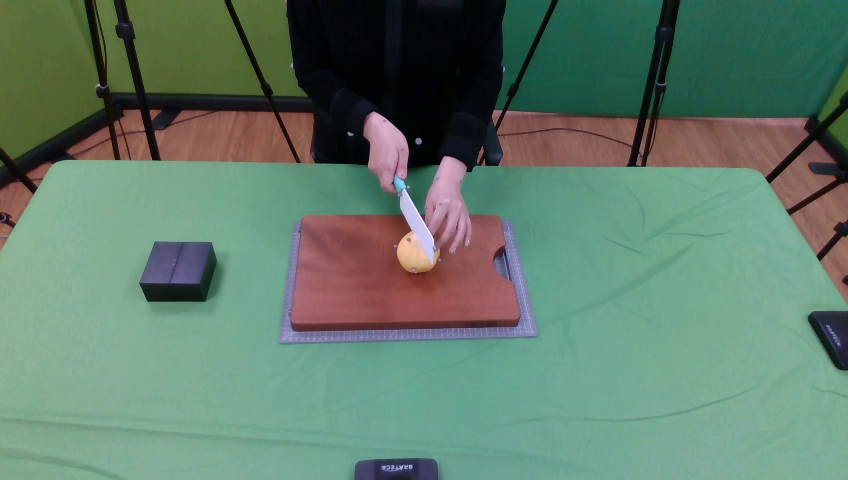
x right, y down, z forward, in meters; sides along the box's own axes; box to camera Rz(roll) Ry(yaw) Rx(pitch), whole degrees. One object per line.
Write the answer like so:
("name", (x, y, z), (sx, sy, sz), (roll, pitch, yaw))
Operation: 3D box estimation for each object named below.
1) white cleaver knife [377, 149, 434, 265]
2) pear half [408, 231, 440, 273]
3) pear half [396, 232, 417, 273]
("white cleaver knife", (-0.037, -0.066, 1.078), (0.021, 0.066, 0.284), (-9, 45, -19))
("pear half", (0.000, 0.008, 1.091), (0.056, 0.110, 0.076), (-16, 55, -14))
("pear half", (-0.034, 0.022, 1.089), (0.031, 0.088, 0.070), (-15, 55, -17))
